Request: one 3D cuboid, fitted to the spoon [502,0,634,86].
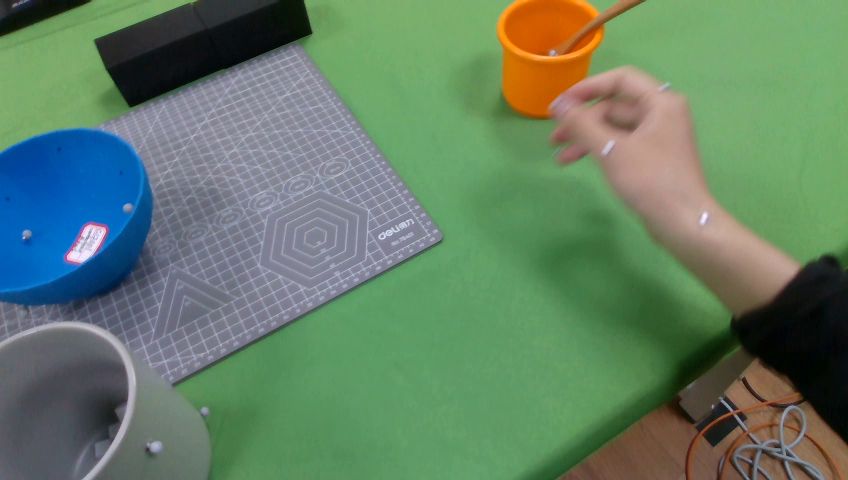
[{"bbox_3d":[0.143,-0.184,0.515,0.022,0.193,0.041,32,52,-27],"label":"spoon"}]

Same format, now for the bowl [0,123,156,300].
[{"bbox_3d":[-0.274,-0.010,0.472,0.151,0.077,0.150,-2,57,4],"label":"bowl"}]

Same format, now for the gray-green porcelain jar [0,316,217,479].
[{"bbox_3d":[-0.190,0.119,0.357,0.106,0.127,0.105,-2,56,4],"label":"gray-green porcelain jar"}]
